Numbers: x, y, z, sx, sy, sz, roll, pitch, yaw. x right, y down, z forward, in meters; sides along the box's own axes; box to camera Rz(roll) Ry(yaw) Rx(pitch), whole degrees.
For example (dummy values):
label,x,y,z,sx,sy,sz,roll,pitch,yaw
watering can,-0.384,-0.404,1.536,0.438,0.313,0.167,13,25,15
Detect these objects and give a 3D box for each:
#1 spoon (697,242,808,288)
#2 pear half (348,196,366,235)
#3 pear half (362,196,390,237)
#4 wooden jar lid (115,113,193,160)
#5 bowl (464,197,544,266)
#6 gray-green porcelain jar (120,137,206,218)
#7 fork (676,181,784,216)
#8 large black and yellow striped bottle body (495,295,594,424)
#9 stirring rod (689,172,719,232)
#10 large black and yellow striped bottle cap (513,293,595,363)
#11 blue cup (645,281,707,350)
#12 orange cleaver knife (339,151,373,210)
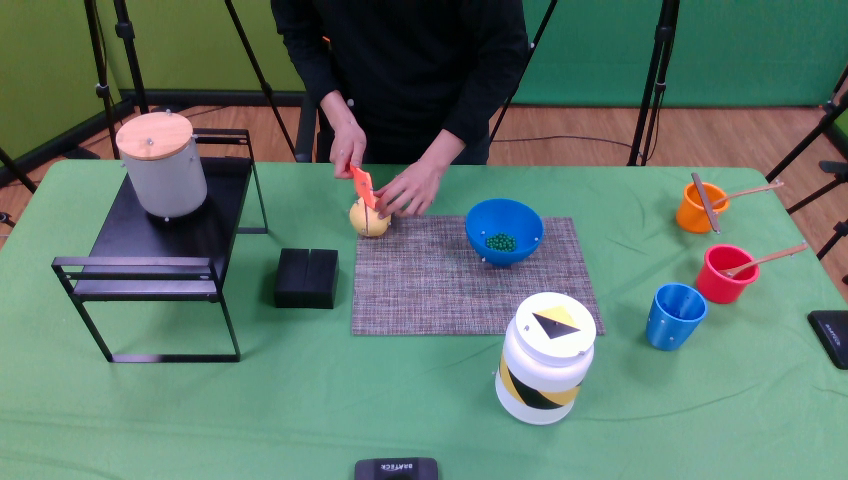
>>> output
label,x,y,z,sx,sy,sz,roll,pitch,yaw
spoon,0.601,0.045,1.115,0.194,0.022,0.041,-29,35,30
pear half,-0.132,-0.047,1.180,0.031,0.088,0.070,-15,49,-13
pear half,-0.095,-0.059,1.182,0.056,0.110,0.076,-12,50,-14
wooden jar lid,-0.399,-0.151,0.900,0.108,0.021,0.107,3,46,-3
bowl,0.149,-0.004,1.168,0.151,0.077,0.150,3,46,-2
gray-green porcelain jar,-0.403,-0.106,0.946,0.106,0.127,0.105,3,46,-2
fork,0.618,-0.083,1.235,0.019,0.207,0.028,55,40,-15
large black and yellow striped bottle body,0.183,0.182,0.923,0.131,0.185,0.130,2,46,-2
stirring rod,0.565,-0.080,1.224,0.014,0.006,0.175,3,46,0
large black and yellow striped bottle cap,0.186,0.123,0.863,0.115,0.019,0.114,3,45,-3
blue cup,0.425,0.136,1.042,0.093,0.101,0.092,1,44,-1
orange cleaver knife,-0.133,-0.120,1.182,0.012,0.077,0.210,-14,29,-16
